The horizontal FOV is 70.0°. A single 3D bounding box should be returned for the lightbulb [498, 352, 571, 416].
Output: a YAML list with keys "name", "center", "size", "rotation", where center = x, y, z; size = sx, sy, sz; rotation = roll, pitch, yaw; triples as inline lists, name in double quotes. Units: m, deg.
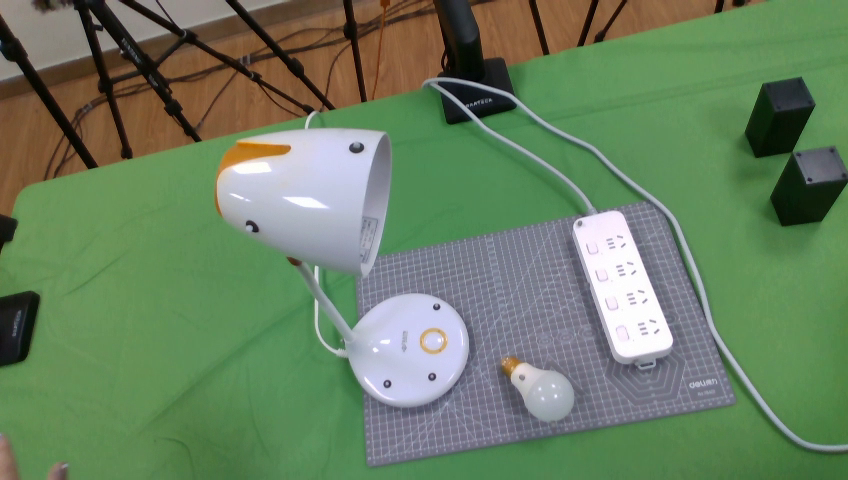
- name: "lightbulb"
  center: [0.130, 0.171, 0.743]
  size: [0.059, 0.060, 0.106]
  rotation: [-45, 46, -13]

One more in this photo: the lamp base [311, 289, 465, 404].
- name: "lamp base"
  center: [-0.052, 0.105, 0.744]
  size: [0.179, 0.182, 0.159]
  rotation: [-15, 59, 7]

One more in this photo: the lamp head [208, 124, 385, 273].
- name: "lamp head"
  center: [-0.095, -0.035, 0.460]
  size: [0.123, 0.113, 0.111]
  rotation: [6, 62, 8]

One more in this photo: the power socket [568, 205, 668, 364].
- name: "power socket"
  center: [0.250, 0.050, 0.794]
  size: [0.072, 0.033, 0.224]
  rotation: [-13, 59, 4]
